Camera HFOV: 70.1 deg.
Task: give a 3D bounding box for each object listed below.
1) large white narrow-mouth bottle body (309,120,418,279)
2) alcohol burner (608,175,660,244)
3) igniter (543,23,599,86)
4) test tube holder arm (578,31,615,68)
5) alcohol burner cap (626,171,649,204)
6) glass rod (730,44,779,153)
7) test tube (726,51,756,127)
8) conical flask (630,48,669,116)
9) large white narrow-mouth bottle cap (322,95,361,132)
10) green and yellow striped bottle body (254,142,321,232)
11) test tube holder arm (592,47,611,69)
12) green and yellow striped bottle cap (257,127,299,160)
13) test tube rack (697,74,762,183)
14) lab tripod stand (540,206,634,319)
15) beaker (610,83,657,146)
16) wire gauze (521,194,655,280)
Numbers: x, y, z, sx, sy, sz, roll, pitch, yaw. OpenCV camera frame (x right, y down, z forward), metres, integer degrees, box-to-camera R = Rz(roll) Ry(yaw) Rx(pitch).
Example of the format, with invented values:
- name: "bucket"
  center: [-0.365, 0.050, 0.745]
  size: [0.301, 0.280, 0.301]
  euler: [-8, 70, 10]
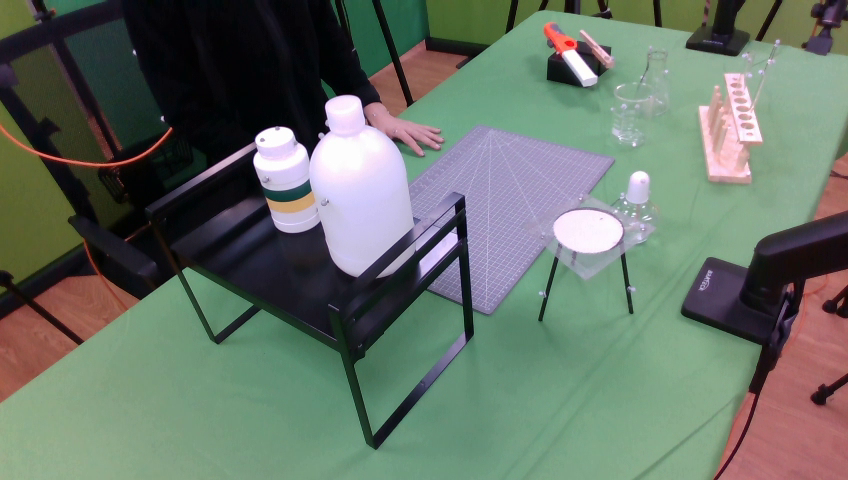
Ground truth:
- name: "large white narrow-mouth bottle body"
  center: [-0.068, -0.057, 0.644]
  size: [0.102, 0.195, 0.101]
  euler: [-6, 40, 5]
- name: "alcohol burner"
  center: [0.322, -0.053, 0.924]
  size: [0.078, 0.119, 0.077]
  euler: [-4, 43, 4]
- name: "igniter"
  center: [0.320, -0.419, 1.345]
  size: [0.057, 0.025, 0.274]
  euler: [-12, 44, -3]
- name: "test tube holder arm"
  center: [0.383, -0.428, 1.351]
  size: [0.013, 0.015, 0.177]
  euler: [-12, 41, -3]
- name: "alcohol burner cap"
  center: [0.320, -0.081, 0.901]
  size: [0.034, 0.048, 0.033]
  euler: [-4, 42, 4]
- name: "glass rod"
  center: [0.555, -0.234, 1.021]
  size: [0.008, 0.200, 0.008]
  euler: [2, 40, -1]
- name: "test tube"
  center: [0.567, -0.268, 1.086]
  size: [0.017, 0.151, 0.017]
  euler: [-4, 45, 5]
- name: "conical flask"
  center: [0.457, -0.317, 1.205]
  size: [0.075, 0.122, 0.075]
  euler: [-4, 41, 4]
- name: "large white narrow-mouth bottle cap"
  center: [-0.080, -0.123, 0.589]
  size: [0.038, 0.024, 0.037]
  euler: [-5, 40, 5]
- name: "green and yellow striped bottle body"
  center: [-0.165, -0.073, 0.732]
  size: [0.063, 0.120, 0.063]
  euler: [-4, 41, 4]
- name: "test tube holder arm"
  center: [0.385, -0.398, 1.317]
  size: [0.010, 0.015, 0.087]
  euler: [-11, 41, -2]
- name: "green and yellow striped bottle cap"
  center: [-0.169, -0.112, 0.699]
  size: [0.045, 0.020, 0.045]
  euler: [-5, 41, 5]
- name: "test tube rack"
  center: [0.547, -0.208, 1.095]
  size: [0.066, 0.085, 0.242]
  euler: [5, 42, 15]
- name: "lab tripod stand"
  center: [0.217, 0.034, 0.821]
  size: [0.148, 0.132, 0.147]
  euler: [-4, 42, 4]
- name: "beaker"
  center: [0.388, -0.235, 1.138]
  size: [0.074, 0.101, 0.083]
  euler: [-31, 45, -26]
- name: "wire gauze"
  center: [0.207, -0.012, 0.772]
  size: [0.122, 0.011, 0.124]
  euler: [-28, 44, -20]
